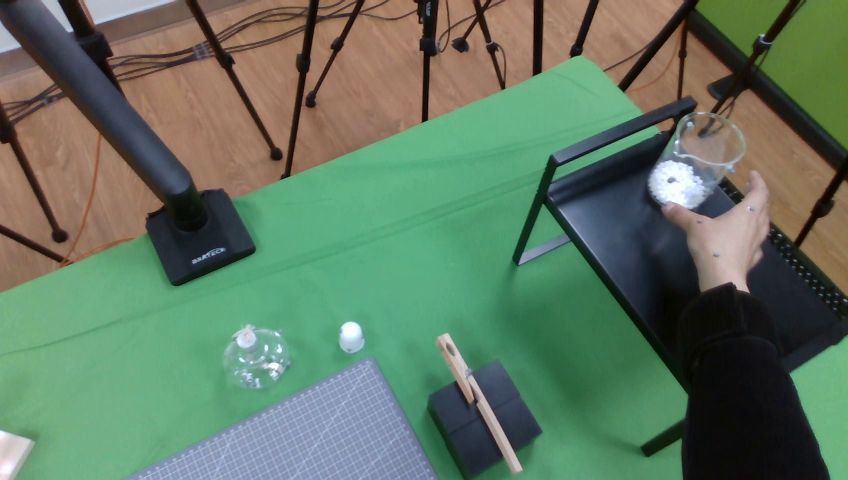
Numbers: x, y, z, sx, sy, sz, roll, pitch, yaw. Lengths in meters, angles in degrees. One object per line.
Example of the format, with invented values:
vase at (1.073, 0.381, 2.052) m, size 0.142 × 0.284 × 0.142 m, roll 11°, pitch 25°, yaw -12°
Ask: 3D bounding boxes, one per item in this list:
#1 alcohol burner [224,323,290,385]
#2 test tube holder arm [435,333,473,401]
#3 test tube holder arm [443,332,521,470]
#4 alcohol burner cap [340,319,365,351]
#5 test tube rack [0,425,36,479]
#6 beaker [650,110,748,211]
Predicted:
alcohol burner at (-0.202, 0.130, 0.727) m, size 0.078 × 0.120 × 0.077 m, roll 3°, pitch 58°, yaw -4°
test tube holder arm at (0.039, 0.153, 0.731) m, size 0.010 × 0.015 × 0.087 m, roll -18°, pitch 63°, yaw -27°
test tube holder arm at (0.065, 0.187, 0.716) m, size 0.013 × 0.015 × 0.177 m, roll -19°, pitch 64°, yaw -27°
alcohol burner cap at (-0.093, 0.121, 0.782) m, size 0.034 × 0.048 × 0.033 m, roll 2°, pitch 60°, yaw -3°
test tube rack at (-0.516, 0.301, 0.618) m, size 0.066 × 0.086 × 0.240 m, roll 16°, pitch 60°, yaw 5°
beaker at (0.307, -0.085, 0.692) m, size 0.084 × 0.101 × 0.073 m, roll -22°, pitch 63°, yaw -15°
